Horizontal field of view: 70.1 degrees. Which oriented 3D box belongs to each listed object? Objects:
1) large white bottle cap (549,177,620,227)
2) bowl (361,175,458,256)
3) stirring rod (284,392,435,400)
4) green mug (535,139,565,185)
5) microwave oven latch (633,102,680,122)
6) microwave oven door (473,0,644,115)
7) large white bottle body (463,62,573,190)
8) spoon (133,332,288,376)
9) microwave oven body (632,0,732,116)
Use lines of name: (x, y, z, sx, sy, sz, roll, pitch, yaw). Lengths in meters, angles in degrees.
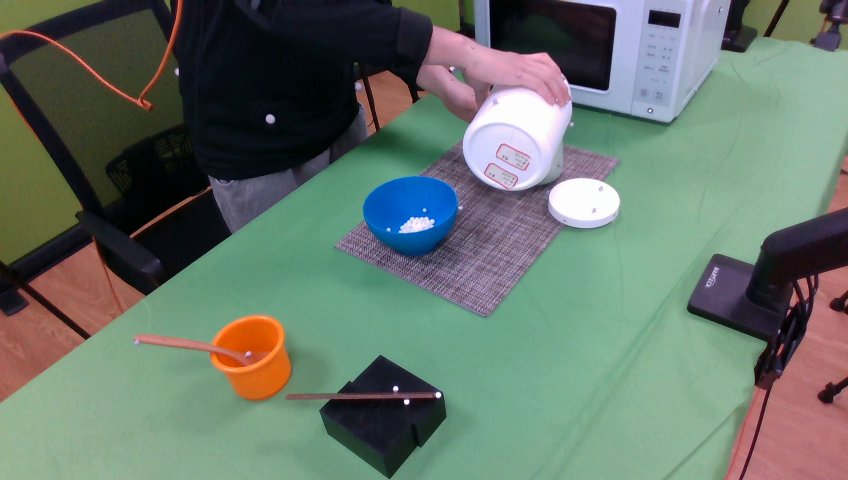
large white bottle cap: (0.265, -0.064, 1.000, 0.115, 0.018, 0.114, -1, 43, 1)
bowl: (-0.019, -0.028, 0.955, 0.151, 0.077, 0.150, -4, 40, 3)
stirring rod: (-0.075, 0.180, 0.698, 0.176, 0.006, 0.014, -2, 6, 7)
green mug: (0.185, -0.162, 1.061, 0.124, 0.105, 0.092, 15, 46, 25)
microwave oven latch: (0.444, -0.249, 1.157, 0.078, 0.029, 0.030, 21, 49, 30)
microwave oven door: (0.257, -0.396, 1.199, 0.353, 0.245, 0.039, 21, 48, 29)
large white bottle body: (0.147, -0.177, 0.905, 0.130, 0.131, 0.184, 11, 45, 20)
spoon: (-0.257, 0.137, 0.747, 0.021, 0.195, 0.041, -47, 40, 23)
microwave oven body: (0.377, -0.462, 1.267, 0.438, 0.261, 0.327, 21, 48, 30)
